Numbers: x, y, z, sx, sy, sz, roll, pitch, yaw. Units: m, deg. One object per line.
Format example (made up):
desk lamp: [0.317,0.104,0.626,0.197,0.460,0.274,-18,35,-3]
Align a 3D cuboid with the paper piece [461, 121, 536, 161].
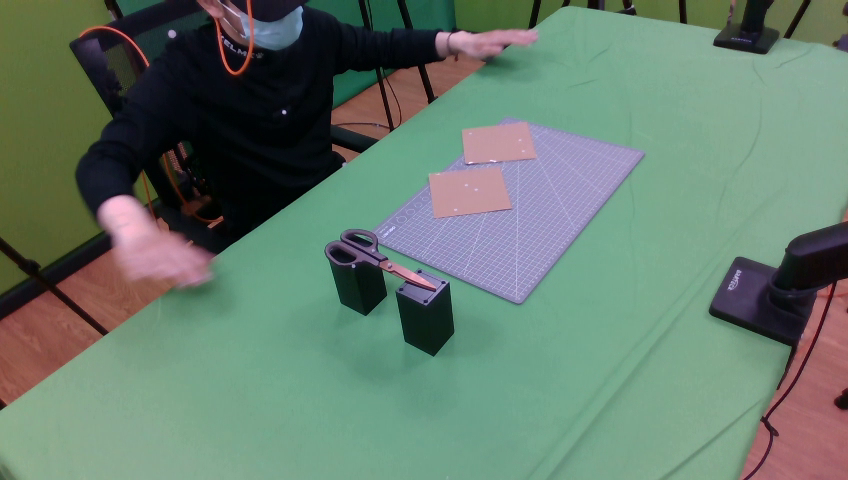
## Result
paper piece: [0.143,-0.193,1.181,0.136,0.009,0.137,-2,39,1]

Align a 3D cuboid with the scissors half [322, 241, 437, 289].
scissors half: [-0.060,0.035,0.788,0.174,0.013,0.040,16,40,21]

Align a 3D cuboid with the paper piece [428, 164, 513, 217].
paper piece: [0.078,-0.091,1.069,0.135,0.004,0.135,-6,41,0]

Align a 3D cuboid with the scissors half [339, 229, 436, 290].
scissors half: [-0.048,0.025,0.801,0.173,0.013,0.040,31,52,33]
